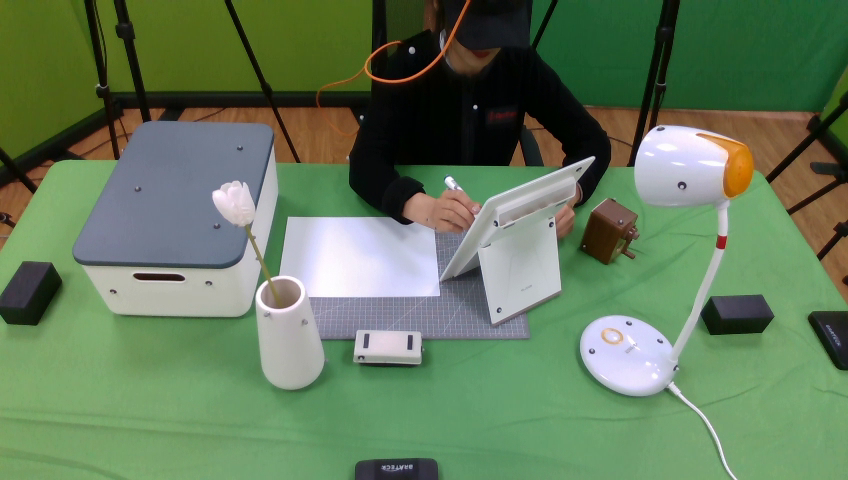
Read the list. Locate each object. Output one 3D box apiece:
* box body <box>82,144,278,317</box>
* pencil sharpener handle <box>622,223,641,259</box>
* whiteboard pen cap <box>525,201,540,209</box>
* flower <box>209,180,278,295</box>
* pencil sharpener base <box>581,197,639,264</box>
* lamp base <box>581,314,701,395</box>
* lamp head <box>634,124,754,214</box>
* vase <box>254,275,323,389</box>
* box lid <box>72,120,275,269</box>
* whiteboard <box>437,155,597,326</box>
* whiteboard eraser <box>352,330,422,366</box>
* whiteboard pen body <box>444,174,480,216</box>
[{"bbox_3d":[-0.421,-0.041,1.108,0.254,0.161,0.361,2,46,-3],"label":"box body"},{"bbox_3d":[0.397,0.003,1.146,0.030,0.068,0.036,37,45,27],"label":"pencil sharpener handle"},{"bbox_3d":[0.230,-0.074,1.289,0.033,0.018,0.018,4,46,4],"label":"whiteboard pen cap"},{"bbox_3d":[-0.216,0.075,0.871,0.044,0.363,0.038,-29,36,-19],"label":"flower"},{"bbox_3d":[0.362,-0.017,1.179,0.076,0.107,0.061,37,54,27],"label":"pencil sharpener base"},{"bbox_3d":[0.361,0.145,0.973,0.178,0.181,0.160,34,53,23],"label":"lamp base"},{"bbox_3d":[0.351,-0.089,0.776,0.112,0.113,0.122,-30,30,-28],"label":"lamp head"},{"bbox_3d":[-0.209,0.143,0.921,0.098,0.201,0.097,1,46,-1],"label":"vase"},{"bbox_3d":[-0.417,-0.094,1.056,0.263,0.015,0.369,1,47,-3],"label":"box lid"},{"bbox_3d":[0.180,0.024,1.029,0.217,0.306,0.143,-22,70,-23],"label":"whiteboard"},{"bbox_3d":[-0.060,0.180,1.005,0.113,0.042,0.055,3,48,-2],"label":"whiteboard eraser"},{"bbox_3d":[0.073,-0.068,1.041,0.017,0.017,0.140,-20,50,-21],"label":"whiteboard pen body"}]
